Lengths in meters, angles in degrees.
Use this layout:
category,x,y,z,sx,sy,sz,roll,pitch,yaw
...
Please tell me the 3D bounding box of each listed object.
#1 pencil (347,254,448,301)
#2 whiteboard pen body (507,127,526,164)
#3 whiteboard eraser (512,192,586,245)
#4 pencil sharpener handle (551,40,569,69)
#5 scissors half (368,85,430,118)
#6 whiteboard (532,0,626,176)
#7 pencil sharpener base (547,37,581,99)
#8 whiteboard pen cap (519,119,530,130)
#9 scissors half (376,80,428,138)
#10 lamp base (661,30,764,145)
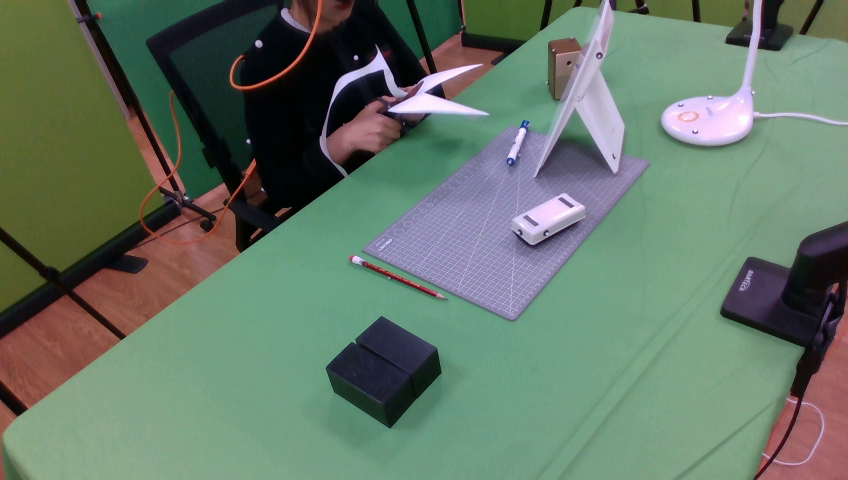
category,x,y,z,sx,sy,sz,roll,pitch,yaw
pencil,-0.044,0.058,0.933,0.192,0.012,0.012,22,49,29
whiteboard pen body,0.181,-0.189,1.162,0.017,0.017,0.140,7,42,19
whiteboard eraser,0.199,-0.032,0.962,0.113,0.042,0.055,-27,43,-20
pencil sharpener handle,0.291,-0.409,1.320,0.036,0.068,0.030,2,40,-6
scissors half,-0.053,-0.282,1.215,0.174,0.040,0.013,-9,12,41
whiteboard,0.320,-0.258,1.050,0.144,0.306,0.217,21,45,5
pencil sharpener base,0.299,-0.368,1.290,0.061,0.107,0.076,-8,40,2
whiteboard pen cap,0.199,-0.226,1.204,0.018,0.018,0.033,7,42,18
scissors half,-0.044,-0.262,1.214,0.013,0.174,0.040,-19,72,-47
lamp base,0.535,-0.287,1.096,0.179,0.181,0.159,-10,40,-4
